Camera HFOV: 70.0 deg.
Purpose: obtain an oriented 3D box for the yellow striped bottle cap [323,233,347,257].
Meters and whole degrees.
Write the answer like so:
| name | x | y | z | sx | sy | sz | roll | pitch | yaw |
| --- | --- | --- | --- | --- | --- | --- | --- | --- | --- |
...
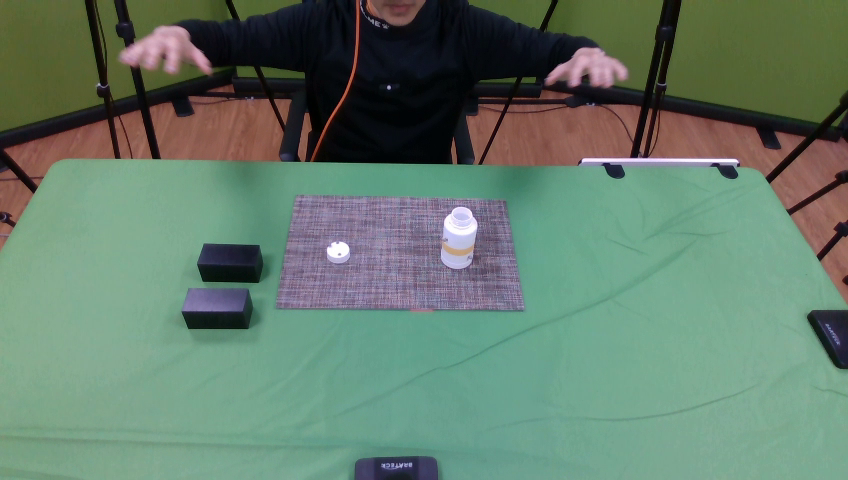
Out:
| name | x | y | z | sx | sy | sz | roll | pitch | yaw |
| --- | --- | --- | --- | --- | --- | --- | --- | --- | --- |
| yellow striped bottle cap | -0.168 | 0.010 | 1.143 | 0.044 | 0.019 | 0.044 | 3 | 55 | -4 |

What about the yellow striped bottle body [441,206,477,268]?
| name | x | y | z | sx | sy | sz | roll | pitch | yaw |
| --- | --- | --- | --- | --- | --- | --- | --- | --- | --- |
| yellow striped bottle body | 0.066 | -0.009 | 1.135 | 0.063 | 0.121 | 0.062 | 2 | 47 | -2 |
